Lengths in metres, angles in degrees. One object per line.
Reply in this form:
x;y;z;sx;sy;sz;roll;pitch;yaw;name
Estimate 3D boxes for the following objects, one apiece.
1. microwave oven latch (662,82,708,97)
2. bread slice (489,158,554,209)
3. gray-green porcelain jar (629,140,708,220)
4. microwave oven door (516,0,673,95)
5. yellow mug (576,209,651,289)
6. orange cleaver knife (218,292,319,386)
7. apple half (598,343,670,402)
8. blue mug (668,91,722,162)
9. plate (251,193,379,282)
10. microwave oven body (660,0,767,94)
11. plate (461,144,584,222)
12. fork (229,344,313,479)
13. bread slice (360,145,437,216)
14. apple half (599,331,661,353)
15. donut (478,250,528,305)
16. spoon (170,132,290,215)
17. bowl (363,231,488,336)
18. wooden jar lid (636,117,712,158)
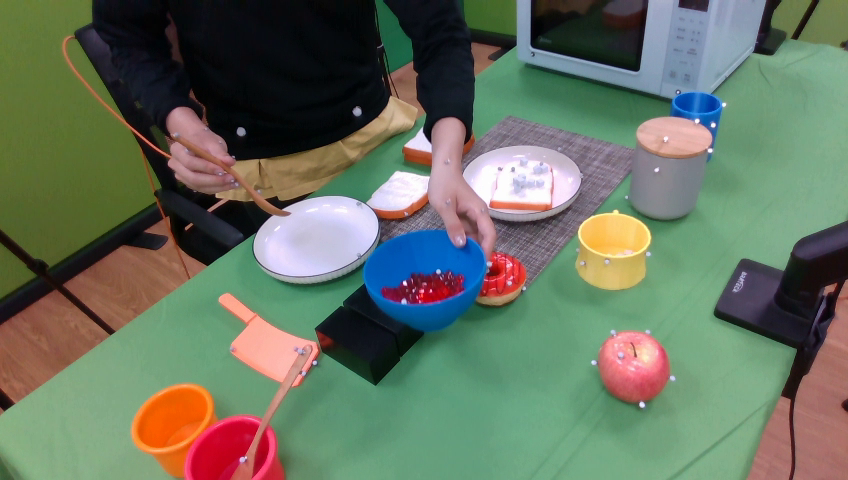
0.518;-0.298;1.203;0.078;0.029;0.030;28;53;35;microwave oven latch
0.173;-0.100;1.046;0.104;0.019;0.131;3;41;13;bread slice
0.383;-0.104;0.958;0.106;0.127;0.105;-4;41;4;gray-green porcelain jar
0.344;-0.458;1.256;0.353;0.245;0.039;26;51;33;microwave oven door
0.279;0.004;0.893;0.099;0.064;0.130;5;41;15;yellow mug
-0.235;0.136;0.850;0.209;0.012;0.077;25;57;30;orange cleaver knife
0.247;0.161;0.710;0.081;0.075;0.053;2;47;5;apple half
0.474;-0.207;1.079;0.082;0.106;0.116;4;42;13;blue mug
-0.174;0.000;0.984;0.209;0.038;0.208;-4;40;3;plate
0.474;-0.517;1.313;0.438;0.261;0.327;26;51;34;microwave oven body
0.168;-0.095;1.040;0.207;0.039;0.206;-4;40;4;plate
-0.173;0.205;0.662;0.028;0.019;0.207;29;94;35;fork
-0.053;-0.104;1.045;0.106;0.018;0.134;19;68;22;bread slice
0.249;0.134;0.738;0.081;0.081;0.032;-1;46;7;apple half
0.100;0.053;0.873;0.099;0.048;0.098;-4;39;4;donut
-0.261;-0.087;0.824;0.041;0.195;0.021;17;69;51;spoon
0.006;0.063;0.738;0.151;0.077;0.150;-4;36;4;bowl
0.377;-0.151;0.917;0.108;0.021;0.108;-2;41;3;wooden jar lid
